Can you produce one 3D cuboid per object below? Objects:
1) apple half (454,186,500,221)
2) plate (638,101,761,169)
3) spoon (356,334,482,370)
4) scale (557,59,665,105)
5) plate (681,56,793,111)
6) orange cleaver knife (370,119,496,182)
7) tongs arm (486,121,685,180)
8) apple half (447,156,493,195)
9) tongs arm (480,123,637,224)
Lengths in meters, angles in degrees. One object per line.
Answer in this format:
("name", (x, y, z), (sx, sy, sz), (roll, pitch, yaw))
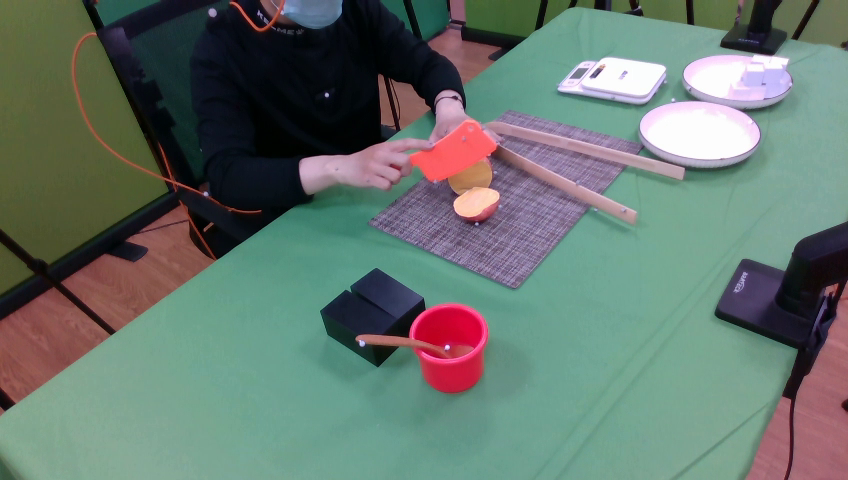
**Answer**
("apple half", (0.091, -0.056, 1.015), (0.081, 0.033, 0.081), (-16, 36, 13))
("plate", (0.500, -0.189, 1.111), (0.209, 0.038, 0.208), (-4, 41, 4))
("spoon", (-0.001, 0.130, 0.731), (0.195, 0.021, 0.041), (22, 28, -39))
("scale", (0.407, -0.348, 1.314), (0.199, 0.032, 0.149), (19, 47, 28))
("plate", (0.636, -0.317, 1.239), (0.207, 0.039, 0.206), (-4, 40, 4))
("orange cleaver knife", (0.012, -0.130, 0.983), (0.210, 0.077, 0.012), (-22, 30, 22))
("tongs arm", (0.287, -0.170, 1.124), (0.384, 0.028, 0.028), (21, 52, 29))
("apple half", (0.081, -0.123, 1.064), (0.081, 0.075, 0.053), (-6, 37, 6))
("tongs arm", (0.227, -0.128, 1.080), (0.051, 0.026, 0.381), (-33, 46, -26))
